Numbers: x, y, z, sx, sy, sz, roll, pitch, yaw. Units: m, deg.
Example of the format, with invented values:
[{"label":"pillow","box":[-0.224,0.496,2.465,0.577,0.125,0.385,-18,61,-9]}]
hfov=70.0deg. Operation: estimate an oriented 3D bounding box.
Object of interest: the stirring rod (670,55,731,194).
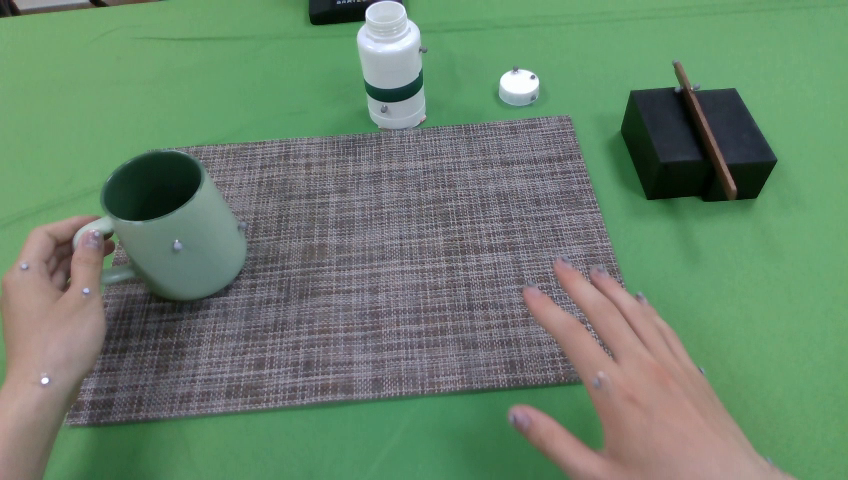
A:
[{"label":"stirring rod","box":[0.248,-0.110,0.548,0.006,0.014,0.174,-5,53,5]}]

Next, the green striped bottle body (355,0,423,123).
[{"label":"green striped bottle body","box":[-0.035,-0.184,0.617,0.063,0.120,0.062,-2,52,3]}]

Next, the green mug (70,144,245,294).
[{"label":"green mug","box":[-0.220,-0.008,0.499,0.125,0.106,0.091,-27,56,-16]}]

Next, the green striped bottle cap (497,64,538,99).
[{"label":"green striped bottle cap","box":[0.103,-0.174,0.667,0.044,0.020,0.044,-1,49,1]}]
